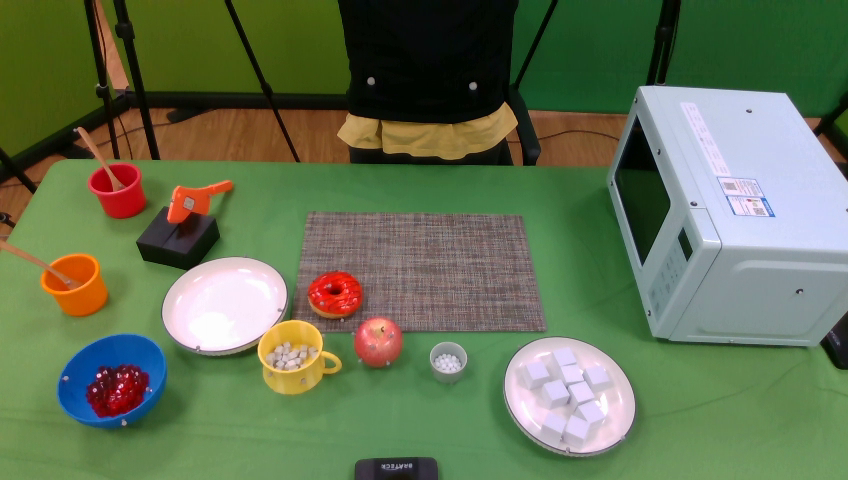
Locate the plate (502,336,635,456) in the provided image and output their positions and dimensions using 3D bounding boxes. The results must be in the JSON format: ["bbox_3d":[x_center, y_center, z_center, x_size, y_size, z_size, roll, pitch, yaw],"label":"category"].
[{"bbox_3d":[0.225,0.248,0.963,0.208,0.039,0.206,2,46,-2],"label":"plate"}]

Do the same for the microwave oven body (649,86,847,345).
[{"bbox_3d":[0.567,-0.053,1.118,0.326,0.261,0.439,2,45,-1],"label":"microwave oven body"}]

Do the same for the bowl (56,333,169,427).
[{"bbox_3d":[-0.456,0.223,0.912,0.151,0.077,0.150,3,46,-2],"label":"bowl"}]

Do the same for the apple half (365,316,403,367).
[{"bbox_3d":[-0.063,0.165,1.000,0.053,0.075,0.080,-16,45,-24],"label":"apple half"}]

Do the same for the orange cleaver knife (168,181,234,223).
[{"bbox_3d":[-0.436,-0.078,1.196,0.012,0.077,0.211,15,15,10],"label":"orange cleaver knife"}]

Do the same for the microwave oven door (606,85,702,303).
[{"bbox_3d":[0.423,-0.094,1.140,0.039,0.245,0.353,2,46,-1],"label":"microwave oven door"}]

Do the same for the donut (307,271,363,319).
[{"bbox_3d":[-0.157,0.097,1.072,0.099,0.048,0.098,4,45,-3],"label":"donut"}]

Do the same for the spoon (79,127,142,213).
[{"bbox_3d":[-0.625,-0.139,1.203,0.041,0.021,0.194,-33,100,-25],"label":"spoon"}]

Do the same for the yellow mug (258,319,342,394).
[{"bbox_3d":[-0.196,0.189,0.972,0.131,0.064,0.099,9,46,3],"label":"yellow mug"}]

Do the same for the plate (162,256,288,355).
[{"bbox_3d":[-0.341,0.115,1.051,0.209,0.038,0.208,2,46,-2],"label":"plate"}]

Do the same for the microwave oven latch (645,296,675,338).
[{"bbox_3d":[0.411,0.134,1.061,0.030,0.029,0.078,3,45,0],"label":"microwave oven latch"}]

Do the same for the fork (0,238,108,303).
[{"bbox_3d":[-0.633,0.048,1.017,0.208,0.018,0.028,40,41,-27],"label":"fork"}]

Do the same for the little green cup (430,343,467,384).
[{"bbox_3d":[0.039,0.203,0.994,0.061,0.039,0.061,2,46,-2],"label":"little green cup"}]

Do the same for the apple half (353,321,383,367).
[{"bbox_3d":[-0.098,0.177,0.984,0.033,0.081,0.081,-17,49,-25],"label":"apple half"}]
